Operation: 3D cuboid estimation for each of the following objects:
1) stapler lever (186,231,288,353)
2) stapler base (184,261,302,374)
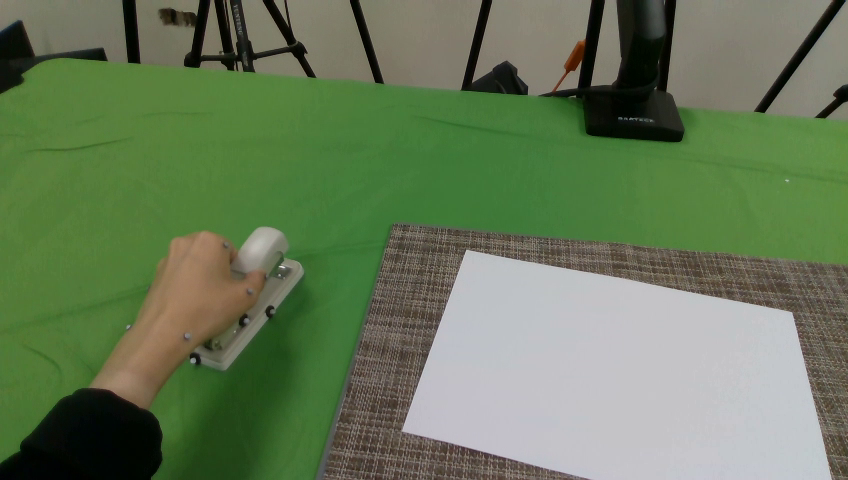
[{"bbox_3d":[-0.155,0.039,0.508,0.026,0.040,0.117,15,45,17],"label":"stapler lever"},{"bbox_3d":[-0.155,0.057,0.527,0.041,0.024,0.130,15,45,17],"label":"stapler base"}]
